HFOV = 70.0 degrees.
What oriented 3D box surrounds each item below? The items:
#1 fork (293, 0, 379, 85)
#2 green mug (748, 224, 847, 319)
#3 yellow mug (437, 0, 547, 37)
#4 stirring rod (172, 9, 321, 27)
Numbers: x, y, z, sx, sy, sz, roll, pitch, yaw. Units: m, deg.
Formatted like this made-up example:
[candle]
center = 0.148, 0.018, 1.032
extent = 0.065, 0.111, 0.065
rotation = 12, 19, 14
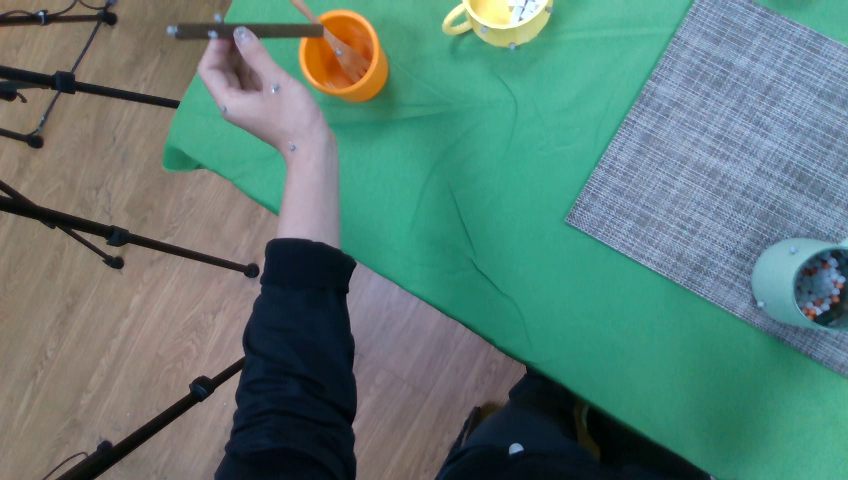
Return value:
[fork]
center = -0.124, -0.247, 0.660
extent = 0.028, 0.018, 0.209
rotation = -43, 128, 7
[green mug]
center = 0.395, 0.021, 0.597
extent = 0.125, 0.105, 0.092
rotation = -44, 84, 9
[yellow mug]
center = 0.073, -0.275, 0.667
extent = 0.131, 0.064, 0.100
rotation = -28, 88, 11
[stirring rod]
center = -0.151, -0.199, 0.543
extent = 0.006, 0.176, 0.014
rotation = 19, 116, 26
